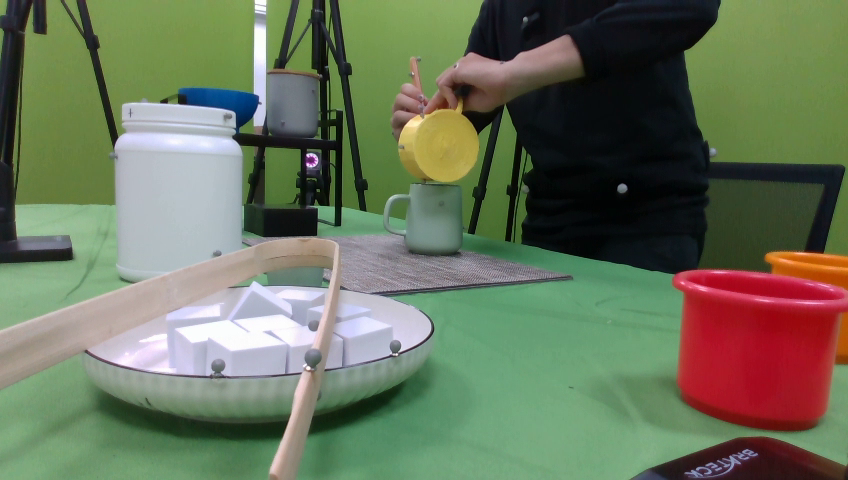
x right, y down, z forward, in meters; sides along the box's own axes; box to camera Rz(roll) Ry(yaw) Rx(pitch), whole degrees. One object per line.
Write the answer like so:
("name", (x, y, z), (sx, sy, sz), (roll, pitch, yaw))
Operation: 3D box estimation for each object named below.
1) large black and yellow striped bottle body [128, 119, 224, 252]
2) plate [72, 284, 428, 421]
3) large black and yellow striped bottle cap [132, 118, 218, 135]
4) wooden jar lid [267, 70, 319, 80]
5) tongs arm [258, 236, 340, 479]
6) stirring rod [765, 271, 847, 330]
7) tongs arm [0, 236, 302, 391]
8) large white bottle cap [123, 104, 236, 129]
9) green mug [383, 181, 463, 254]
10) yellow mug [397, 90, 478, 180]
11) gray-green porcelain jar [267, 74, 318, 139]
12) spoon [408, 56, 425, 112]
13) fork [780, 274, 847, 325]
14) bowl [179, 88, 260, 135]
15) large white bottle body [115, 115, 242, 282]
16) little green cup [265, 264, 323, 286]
("large black and yellow striped bottle body", (-0.361, -0.081, 0.887), (0.131, 0.184, 0.130), (2, 8, 0))
("plate", (-0.102, 0.066, 0.380), (0.208, 0.039, 0.207), (3, 7, 0))
("large black and yellow striped bottle cap", (-0.359, -0.164, 0.875), (0.115, 0.019, 0.115), (2, 6, 0))
("wooden jar lid", (-0.275, -0.340, 1.271), (0.108, 0.020, 0.108), (5, 6, 0))
("tongs arm", (-0.074, 0.040, 0.345), (0.051, 0.026, 0.384), (-1, 9, -3))
("stirring rod", (0.352, 0.020, 0.481), (0.176, 0.006, 0.014), (-40, -7, 17))
("tongs arm", (-0.157, 0.038, 0.347), (0.028, 0.028, 0.388), (-2, 8, 11))
("large white bottle cap", (-0.266, -0.134, 0.663), (0.115, 0.018, 0.115), (3, 7, 0))
("green mug", (-0.001, -0.036, 0.921), (0.126, 0.105, 0.092), (0, 8, -16))
("yellow mug", (0.024, -0.151, 0.862), (0.100, 0.130, 0.064), (20, 0, -23))
("gray-green porcelain jar", (-0.277, -0.279, 1.280), (0.106, 0.126, 0.106), (2, 8, 0))
("spoon", (-0.002, -0.189, 0.902), (0.042, 0.193, 0.021), (-11, -17, -4))
("fork", (0.332, 0.018, 0.443), (0.028, 0.018, 0.207), (-2, -35, -16))
("bowl", (-0.400, -0.248, 1.188), (0.151, 0.077, 0.151), (2, 6, 0))
("large white bottle body", (-0.270, -0.051, 0.673), (0.131, 0.184, 0.130), (2, 8, 0))
("little green cup", (-0.134, 0.034, 0.628), (0.061, 0.038, 0.061), (3, 7, 0))
